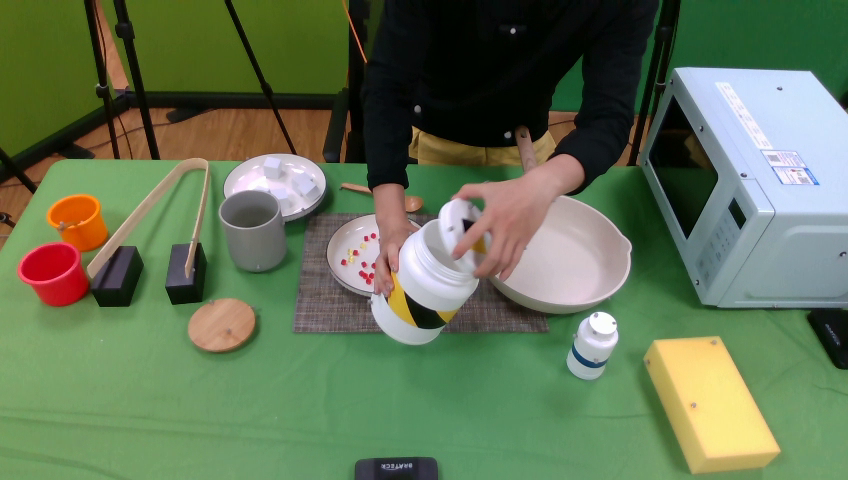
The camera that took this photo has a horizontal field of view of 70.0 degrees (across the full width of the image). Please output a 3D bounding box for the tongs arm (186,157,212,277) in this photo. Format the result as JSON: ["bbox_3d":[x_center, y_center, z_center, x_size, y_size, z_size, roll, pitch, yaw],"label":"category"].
[{"bbox_3d":[-0.445,-0.058,1.168,0.051,0.026,0.382,-4,37,-6],"label":"tongs arm"}]

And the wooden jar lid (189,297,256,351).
[{"bbox_3d":[-0.342,0.145,1.033,0.108,0.021,0.107,3,45,-2],"label":"wooden jar lid"}]

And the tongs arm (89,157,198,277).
[{"bbox_3d":[-0.529,-0.059,1.163,0.028,0.028,0.385,2,36,7],"label":"tongs arm"}]

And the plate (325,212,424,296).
[{"bbox_3d":[-0.080,0.030,1.143,0.209,0.038,0.208,3,46,-3],"label":"plate"}]

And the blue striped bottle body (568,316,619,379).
[{"bbox_3d":[0.276,0.168,0.984,0.063,0.121,0.062,2,46,-2],"label":"blue striped bottle body"}]

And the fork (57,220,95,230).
[{"bbox_3d":[-0.624,-0.027,1.087,0.028,0.207,0.018,-3,92,-17],"label":"fork"}]

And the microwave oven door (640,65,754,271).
[{"bbox_3d":[0.524,-0.148,1.193,0.039,0.245,0.353,0,47,-3],"label":"microwave oven door"}]

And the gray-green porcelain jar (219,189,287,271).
[{"bbox_3d":[-0.309,-0.014,1.113,0.106,0.127,0.105,2,46,-2],"label":"gray-green porcelain jar"}]

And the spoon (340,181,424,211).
[{"bbox_3d":[-0.090,-0.100,1.282,0.193,0.022,0.041,18,66,12],"label":"spoon"}]

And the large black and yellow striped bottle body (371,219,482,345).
[{"bbox_3d":[0.007,0.065,0.946,0.131,0.184,0.130,18,44,-18],"label":"large black and yellow striped bottle body"}]

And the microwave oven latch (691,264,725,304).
[{"bbox_3d":[0.521,0.081,1.116,0.030,0.029,0.078,0,46,-3],"label":"microwave oven latch"}]

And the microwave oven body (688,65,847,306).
[{"bbox_3d":[0.669,-0.111,1.176,0.326,0.261,0.439,0,46,-3],"label":"microwave oven body"}]

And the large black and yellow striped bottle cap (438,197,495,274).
[{"bbox_3d":[0.063,-0.007,0.873,0.019,0.115,0.114,-23,35,35],"label":"large black and yellow striped bottle cap"}]

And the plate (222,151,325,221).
[{"bbox_3d":[-0.310,-0.106,1.263,0.208,0.039,0.206,2,47,-2],"label":"plate"}]

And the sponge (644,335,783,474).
[{"bbox_3d":[0.448,0.253,0.957,0.118,0.061,0.205,-3,47,-7],"label":"sponge"}]

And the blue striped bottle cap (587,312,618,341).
[{"bbox_3d":[0.279,0.134,0.947,0.044,0.021,0.044,2,45,-2],"label":"blue striped bottle cap"}]

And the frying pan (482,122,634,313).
[{"bbox_3d":[0.235,-0.061,1.207,0.307,0.103,0.484,2,55,-6],"label":"frying pan"}]
